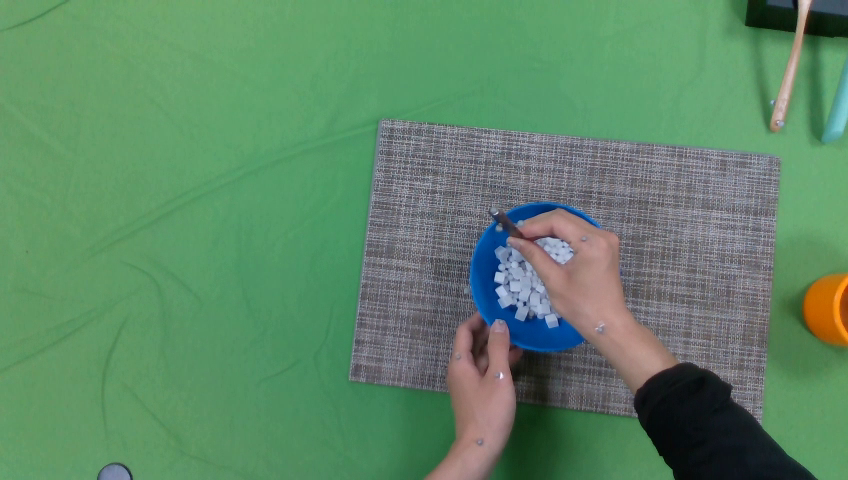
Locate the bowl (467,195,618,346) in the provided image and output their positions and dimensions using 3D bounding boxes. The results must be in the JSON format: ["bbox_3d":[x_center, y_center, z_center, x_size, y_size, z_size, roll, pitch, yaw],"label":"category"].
[{"bbox_3d":[0.120,0.033,0.638,0.151,0.077,0.151,0,85,3],"label":"bowl"}]

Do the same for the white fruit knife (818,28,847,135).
[{"bbox_3d":[0.454,-0.215,0.641,0.016,0.027,0.208,7,102,1],"label":"white fruit knife"}]

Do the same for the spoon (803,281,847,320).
[{"bbox_3d":[0.480,0.068,0.588,0.022,0.192,0.041,11,86,-41],"label":"spoon"}]

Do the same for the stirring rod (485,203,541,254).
[{"bbox_3d":[0.088,-0.008,0.577,0.014,0.177,0.006,13,82,24],"label":"stirring rod"}]

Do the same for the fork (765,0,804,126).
[{"bbox_3d":[0.392,-0.227,0.645,0.028,0.018,0.208,3,106,0],"label":"fork"}]
